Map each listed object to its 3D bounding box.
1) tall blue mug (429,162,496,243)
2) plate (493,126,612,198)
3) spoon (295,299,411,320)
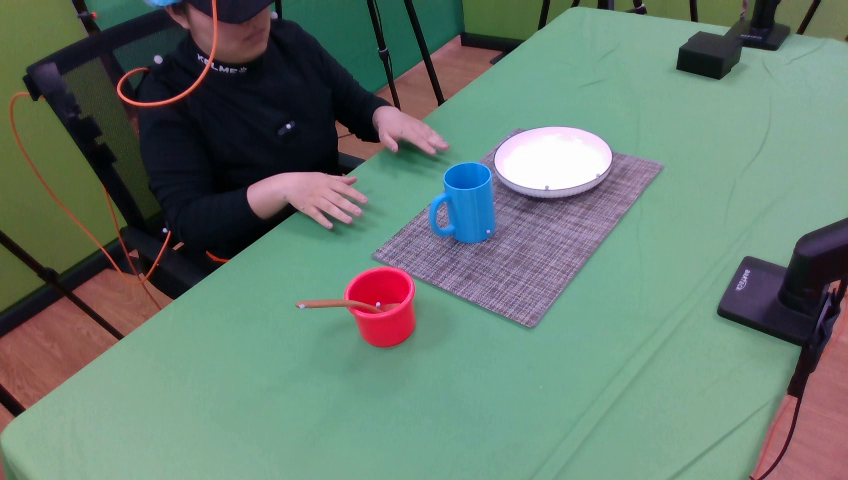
[{"bbox_3d":[0.066,-0.051,0.960,0.077,0.108,0.107,17,47,27],"label":"tall blue mug"},{"bbox_3d":[0.229,-0.136,1.085,0.207,0.039,0.206,-5,40,5],"label":"plate"},{"bbox_3d":[-0.090,0.089,0.805,0.195,0.021,0.041,15,12,-47],"label":"spoon"}]
